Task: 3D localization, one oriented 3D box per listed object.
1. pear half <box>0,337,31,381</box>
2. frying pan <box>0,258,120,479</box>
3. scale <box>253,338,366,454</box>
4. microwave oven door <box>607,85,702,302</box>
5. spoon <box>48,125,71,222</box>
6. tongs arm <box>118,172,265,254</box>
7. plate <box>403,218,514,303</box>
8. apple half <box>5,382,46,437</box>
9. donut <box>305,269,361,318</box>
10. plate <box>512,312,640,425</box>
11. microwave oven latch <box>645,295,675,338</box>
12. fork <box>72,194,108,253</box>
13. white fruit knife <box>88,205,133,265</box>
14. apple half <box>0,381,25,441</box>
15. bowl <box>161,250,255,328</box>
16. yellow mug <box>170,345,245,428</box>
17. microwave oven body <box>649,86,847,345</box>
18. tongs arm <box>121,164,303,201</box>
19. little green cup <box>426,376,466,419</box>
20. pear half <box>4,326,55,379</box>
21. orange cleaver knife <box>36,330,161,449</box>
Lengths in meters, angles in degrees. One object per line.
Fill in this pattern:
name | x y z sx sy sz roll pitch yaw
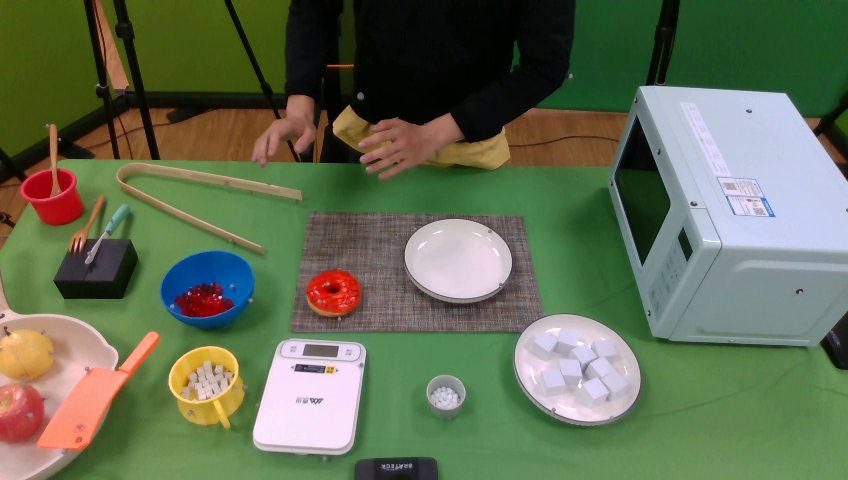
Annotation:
pear half | -0.632 0.185 0.920 0.070 0.088 0.031 29 49 20
frying pan | -0.647 0.164 0.936 0.307 0.103 0.485 -19 58 -22
scale | -0.175 0.236 0.951 0.149 0.032 0.199 5 45 -1
microwave oven door | 0.423 -0.094 1.140 0.039 0.245 0.353 2 46 -1
spoon | -0.718 -0.131 1.188 0.041 0.021 0.193 -3 90 -7
tongs arm | -0.473 -0.055 1.212 0.386 0.028 0.028 23 56 18
plate | 0.064 0.042 1.146 0.209 0.038 0.208 2 46 -2
apple half | -0.567 0.244 0.877 0.033 0.082 0.080 -9 47 -7
donut | -0.160 0.094 1.075 0.099 0.048 0.098 4 45 -3
plate | 0.246 0.213 0.999 0.208 0.039 0.206 2 46 -2
microwave oven latch | 0.412 0.134 1.061 0.030 0.029 0.078 3 45 0
fork | -0.634 -0.036 1.158 0.028 0.019 0.206 -8 32 -8
white fruit knife | -0.584 -0.013 1.129 0.016 0.027 0.206 0 32 -5
apple half | -0.605 0.250 0.871 0.053 0.075 0.080 -9 51 -7
bowl | -0.362 0.098 1.039 0.151 0.077 0.150 2 45 -2
yellow mug | -0.322 0.230 0.922 0.100 0.064 0.130 -24 53 -25
microwave oven body | 0.567 -0.053 1.118 0.326 0.261 0.439 2 45 -1
tongs arm | -0.444 -0.114 1.267 0.384 0.026 0.050 12 50 8
little green cup | 0.033 0.248 0.950 0.061 0.039 0.061 2 46 -2
pear half | -0.609 0.159 0.934 0.076 0.110 0.056 32 52 20
orange cleaver knife | -0.466 0.210 0.880 0.077 0.012 0.210 15 46 9
